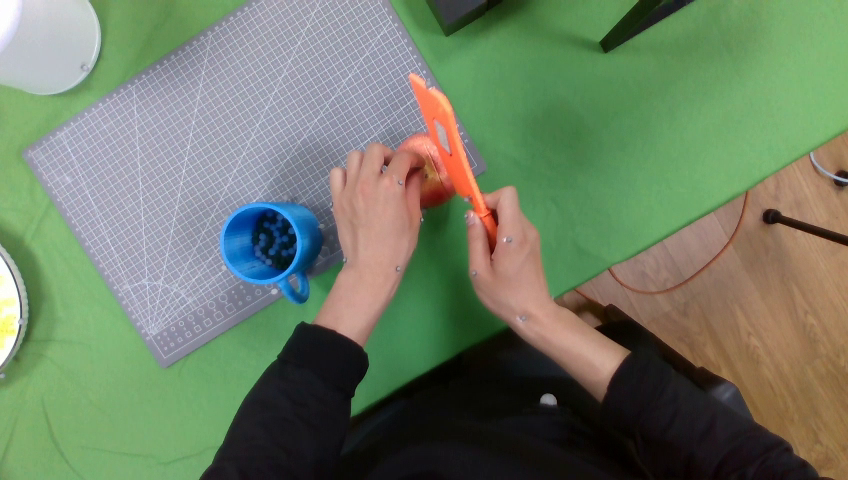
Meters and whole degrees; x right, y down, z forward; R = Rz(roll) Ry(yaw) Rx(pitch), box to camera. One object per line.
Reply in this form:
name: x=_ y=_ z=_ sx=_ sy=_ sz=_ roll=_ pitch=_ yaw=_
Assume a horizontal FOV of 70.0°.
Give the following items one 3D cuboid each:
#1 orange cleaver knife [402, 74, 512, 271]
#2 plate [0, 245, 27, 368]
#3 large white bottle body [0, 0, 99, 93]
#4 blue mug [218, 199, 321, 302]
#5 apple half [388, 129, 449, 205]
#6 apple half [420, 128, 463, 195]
orange cleaver knife: x=0.033 y=-0.059 z=0.575 sx=0.012 sy=0.076 sz=0.213 roll=-34 pitch=121 yaw=-10
plate: x=-0.559 y=0.071 z=0.701 sx=0.209 sy=0.038 sz=0.209 roll=0 pitch=96 yaw=1
large white bottle body: x=-0.432 y=-0.226 z=0.599 sx=0.130 sy=0.184 sz=0.130 roll=0 pitch=94 yaw=2
blue mug: x=-0.156 y=0.012 z=0.653 sx=0.082 sy=0.105 sz=0.116 roll=-23 pitch=94 yaw=3
apple half: x=-0.011 y=-0.074 z=0.659 sx=0.053 sy=0.074 sz=0.081 roll=-22 pitch=98 yaw=8
apple half: x=0.025 y=-0.090 z=0.655 sx=0.033 sy=0.081 sz=0.081 roll=-23 pitch=94 yaw=8
